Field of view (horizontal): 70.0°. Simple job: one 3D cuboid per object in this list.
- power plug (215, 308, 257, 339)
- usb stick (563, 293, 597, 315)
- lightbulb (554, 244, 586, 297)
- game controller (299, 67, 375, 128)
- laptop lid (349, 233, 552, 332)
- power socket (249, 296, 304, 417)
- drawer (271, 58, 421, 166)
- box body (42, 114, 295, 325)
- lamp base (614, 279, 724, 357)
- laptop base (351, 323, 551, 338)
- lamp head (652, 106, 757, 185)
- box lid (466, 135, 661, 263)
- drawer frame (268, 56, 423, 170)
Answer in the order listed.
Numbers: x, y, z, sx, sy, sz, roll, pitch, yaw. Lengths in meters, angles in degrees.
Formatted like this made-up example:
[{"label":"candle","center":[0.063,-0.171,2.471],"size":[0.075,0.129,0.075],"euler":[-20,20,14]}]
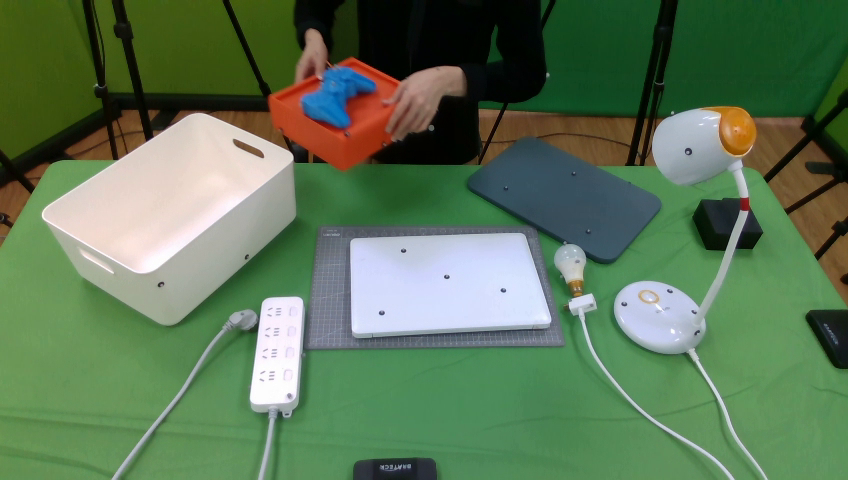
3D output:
[{"label":"power plug","center":[-0.317,0.143,1.024],"size":[0.072,0.053,0.035],"euler":[-32,58,-9]},{"label":"usb stick","center":[0.280,0.118,1.093],"size":[0.059,0.021,0.027],"euler":[-18,35,25]},{"label":"lightbulb","center":[0.281,0.058,1.146],"size":[0.059,0.060,0.107],"euler":[-2,62,-6]},{"label":"game controller","center":[-0.159,-0.267,1.095],"size":[0.097,0.052,0.154],"euler":[11,45,15]},{"label":"laptop lid","center":[0.040,0.070,1.119],"size":[0.357,0.013,0.240],"euler":[-1,44,-5]},{"label":"power socket","center":[-0.239,0.182,0.996],"size":[0.072,0.033,0.225],"euler":[-2,47,-5]},{"label":"drawer","center":[-0.145,-0.248,1.151],"size":[0.193,0.073,0.211],"euler":[33,53,26]},{"label":"box body","center":[-0.437,-0.046,1.110],"size":[0.253,0.161,0.363],"euler":[24,49,19]},{"label":"lamp base","center":[0.436,0.090,1.034],"size":[0.161,0.181,0.178],"euler":[-23,55,-23]},{"label":"laptop base","center":[0.039,0.080,1.126],"size":[0.355,0.023,0.234],"euler":[-2,43,-6]},{"label":"lamp head","center":[0.411,-0.139,0.869],"size":[0.113,0.122,0.112],"euler":[0,89,-19]},{"label":"box lid","center":[0.306,-0.102,1.327],"size":[0.370,0.015,0.263],"euler":[32,52,25]},{"label":"drawer frame","center":[-0.145,-0.247,1.148],"size":[0.200,0.083,0.213],"euler":[33,53,26]}]
